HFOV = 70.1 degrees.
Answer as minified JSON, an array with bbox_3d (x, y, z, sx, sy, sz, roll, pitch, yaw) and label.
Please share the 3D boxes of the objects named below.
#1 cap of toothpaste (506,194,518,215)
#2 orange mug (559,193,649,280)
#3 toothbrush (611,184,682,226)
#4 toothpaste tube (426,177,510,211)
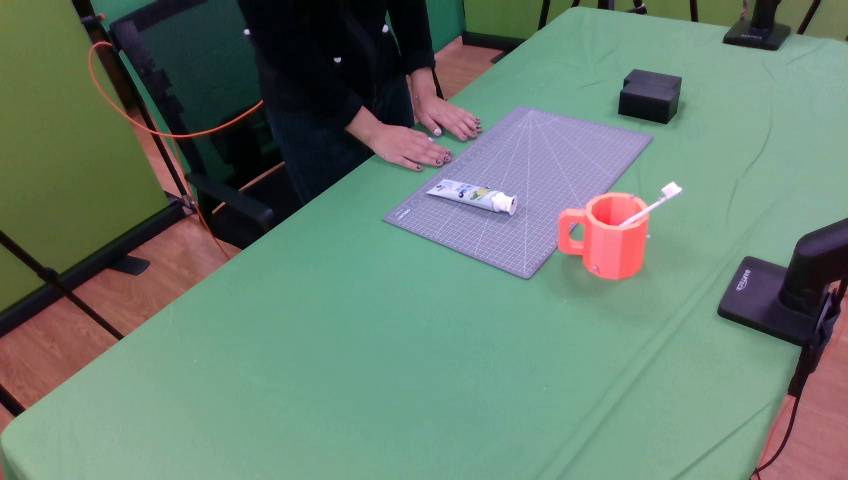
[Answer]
[{"bbox_3d":[0.146,-0.060,1.008,0.011,0.037,0.037,14,46,22],"label":"cap of toothpaste"},{"bbox_3d":[0.261,-0.008,0.884,0.126,0.101,0.083,9,43,14],"label":"orange mug"},{"bbox_3d":[0.293,-0.036,0.847,0.017,0.181,0.014,29,64,-8],"label":"toothbrush"},{"bbox_3d":[0.083,-0.081,1.054,0.164,0.034,0.055,18,40,34],"label":"toothpaste tube"}]
